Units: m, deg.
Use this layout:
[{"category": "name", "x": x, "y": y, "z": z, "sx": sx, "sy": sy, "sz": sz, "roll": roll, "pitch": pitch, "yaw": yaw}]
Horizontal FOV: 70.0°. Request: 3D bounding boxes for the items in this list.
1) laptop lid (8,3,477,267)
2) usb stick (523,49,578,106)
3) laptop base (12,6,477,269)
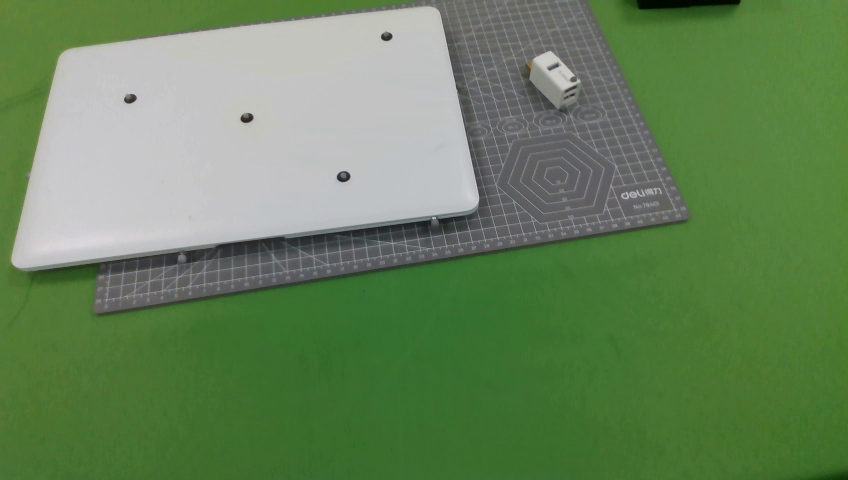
[{"category": "laptop lid", "x": -0.147, "y": -0.101, "z": 0.505, "sx": 0.357, "sy": 0.013, "sz": 0.239, "roll": -6, "pitch": 61, "yaw": -2}, {"category": "usb stick", "x": 0.108, "y": -0.146, "z": 0.531, "sx": 0.021, "sy": 0.027, "sz": 0.058, "roll": -28, "pitch": 59, "yaw": -14}, {"category": "laptop base", "x": -0.147, "y": -0.097, "z": 0.516, "sx": 0.354, "sy": 0.023, "sz": 0.233, "roll": -8, "pitch": 62, "yaw": -3}]
